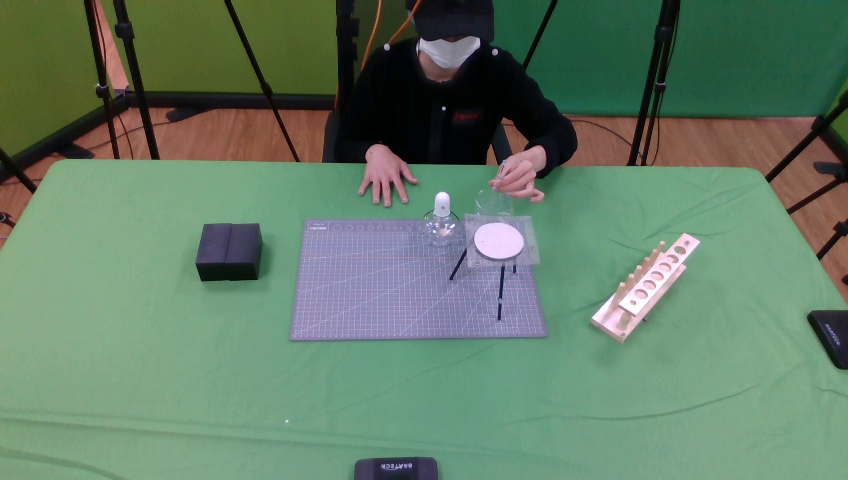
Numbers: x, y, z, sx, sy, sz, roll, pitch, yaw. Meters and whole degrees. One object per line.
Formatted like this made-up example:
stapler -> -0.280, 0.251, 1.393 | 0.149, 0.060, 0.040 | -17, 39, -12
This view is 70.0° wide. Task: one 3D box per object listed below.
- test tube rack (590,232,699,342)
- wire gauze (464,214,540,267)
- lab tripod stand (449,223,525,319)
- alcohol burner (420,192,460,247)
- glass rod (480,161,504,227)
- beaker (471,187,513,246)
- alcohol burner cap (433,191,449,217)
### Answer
test tube rack -> 0.407, 0.074, 1.112 | 0.066, 0.085, 0.242 | 35, 53, 26
wire gauze -> 0.131, -0.002, 1.034 | 0.121, 0.011, 0.124 | 1, 45, -2
lab tripod stand -> 0.120, 0.046, 1.080 | 0.148, 0.132, 0.147 | 1, 47, -1
alcohol burner -> 0.032, -0.045, 1.176 | 0.078, 0.120, 0.077 | 2, 44, -1
glass rod -> 0.127, -0.078, 1.149 | 0.008, 0.200, 0.008 | 5, 52, -6
beaker -> 0.134, -0.042, 1.190 | 0.083, 0.101, 0.074 | 34, 53, 25
alcohol burner cap -> 0.033, -0.070, 1.150 | 0.034, 0.048, 0.033 | 0, 45, 0
